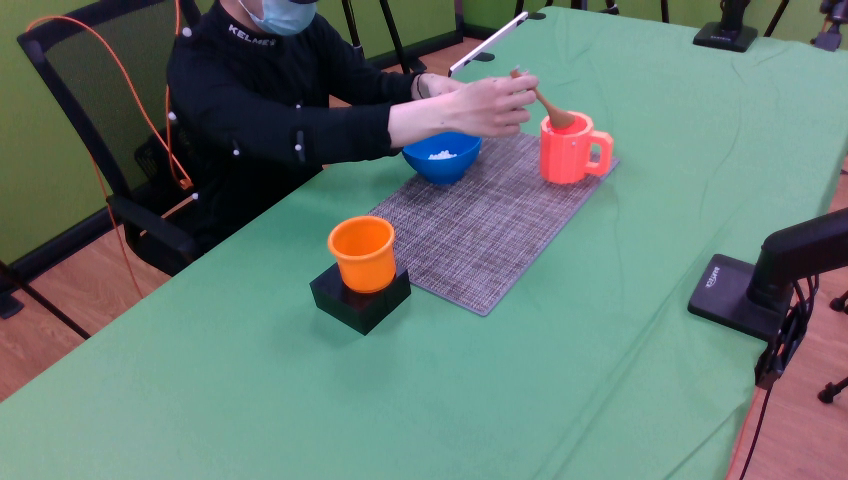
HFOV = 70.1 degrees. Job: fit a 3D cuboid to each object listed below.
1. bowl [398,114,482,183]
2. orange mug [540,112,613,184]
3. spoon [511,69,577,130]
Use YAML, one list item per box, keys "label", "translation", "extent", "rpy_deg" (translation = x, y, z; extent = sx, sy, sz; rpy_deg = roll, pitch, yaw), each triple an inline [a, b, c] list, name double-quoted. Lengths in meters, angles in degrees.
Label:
- label: "bowl"
  translation: [0.032, -0.156, 1.097]
  extent: [0.151, 0.077, 0.150]
  rpy_deg: [-4, 41, 4]
- label: "orange mug"
  translation: [0.263, -0.159, 1.052]
  extent: [0.125, 0.101, 0.083]
  rpy_deg: [12, 44, 28]
- label: "spoon"
  translation: [0.188, -0.219, 0.951]
  extent: [0.041, 0.195, 0.021]
  rpy_deg: [-35, 51, 26]
